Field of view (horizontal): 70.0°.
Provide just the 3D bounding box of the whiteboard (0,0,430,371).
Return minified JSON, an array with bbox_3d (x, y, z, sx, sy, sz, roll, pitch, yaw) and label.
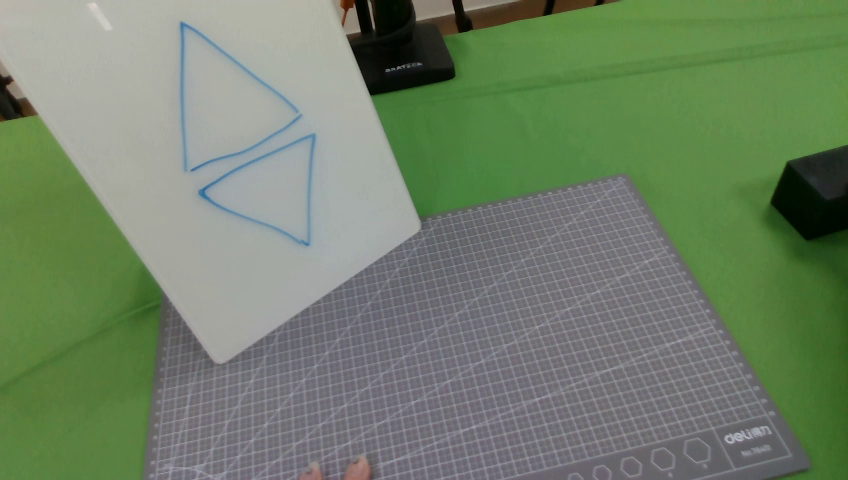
[{"bbox_3d":[-0.162,-0.092,0.505,0.217,0.308,0.142,-34,32,-20],"label":"whiteboard"}]
